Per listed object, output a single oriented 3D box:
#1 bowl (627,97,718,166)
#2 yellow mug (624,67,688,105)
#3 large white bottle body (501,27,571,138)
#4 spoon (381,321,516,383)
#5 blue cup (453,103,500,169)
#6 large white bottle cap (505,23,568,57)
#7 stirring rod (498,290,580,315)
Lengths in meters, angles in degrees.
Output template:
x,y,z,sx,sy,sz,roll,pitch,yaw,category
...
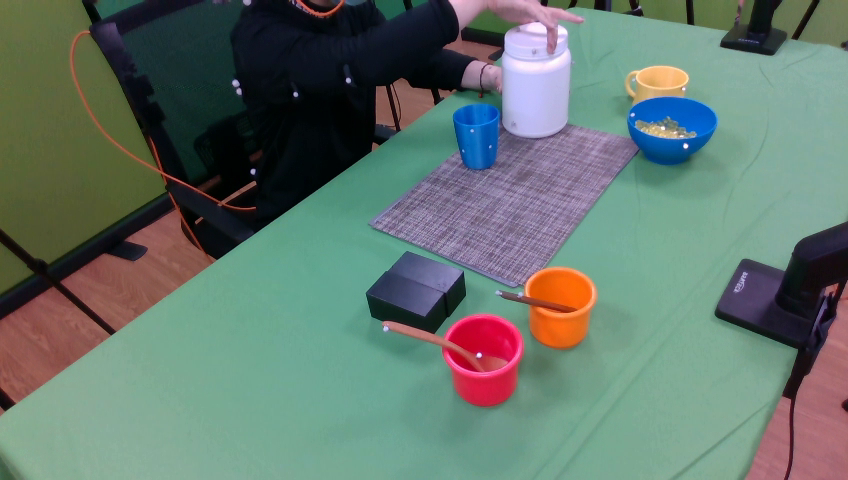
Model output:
x,y,z,sx,sy,sz,roll,pitch,yaw,category
0.439,-0.187,1.087,0.151,0.077,0.150,-4,41,4,bowl
0.464,-0.305,1.230,0.100,0.064,0.129,-34,46,-27,yellow mug
0.216,-0.307,1.172,0.130,0.185,0.130,-4,41,4,large white bottle body
0.033,0.131,0.725,0.195,0.021,0.041,29,30,-26,spoon
0.099,-0.188,1.114,0.092,0.100,0.092,-4,39,4,blue cup
0.207,-0.371,1.116,0.115,0.018,0.114,-4,41,4,large white bottle cap
0.151,0.081,0.772,0.178,0.006,0.014,16,19,-45,stirring rod
